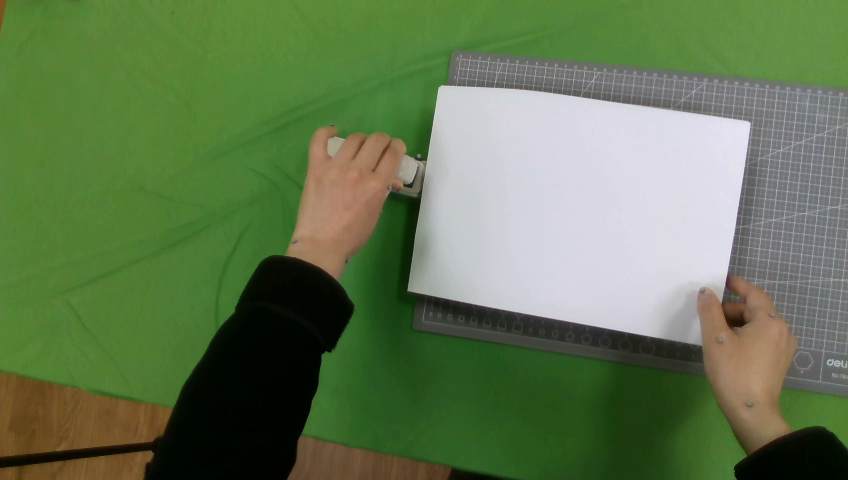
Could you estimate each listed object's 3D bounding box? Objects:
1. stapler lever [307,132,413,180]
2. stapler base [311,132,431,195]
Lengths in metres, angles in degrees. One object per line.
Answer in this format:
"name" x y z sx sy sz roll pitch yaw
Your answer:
"stapler lever" -0.067 -0.086 0.606 0.117 0.040 0.027 16 84 15
"stapler base" -0.059 -0.082 0.631 0.130 0.024 0.041 16 84 14
